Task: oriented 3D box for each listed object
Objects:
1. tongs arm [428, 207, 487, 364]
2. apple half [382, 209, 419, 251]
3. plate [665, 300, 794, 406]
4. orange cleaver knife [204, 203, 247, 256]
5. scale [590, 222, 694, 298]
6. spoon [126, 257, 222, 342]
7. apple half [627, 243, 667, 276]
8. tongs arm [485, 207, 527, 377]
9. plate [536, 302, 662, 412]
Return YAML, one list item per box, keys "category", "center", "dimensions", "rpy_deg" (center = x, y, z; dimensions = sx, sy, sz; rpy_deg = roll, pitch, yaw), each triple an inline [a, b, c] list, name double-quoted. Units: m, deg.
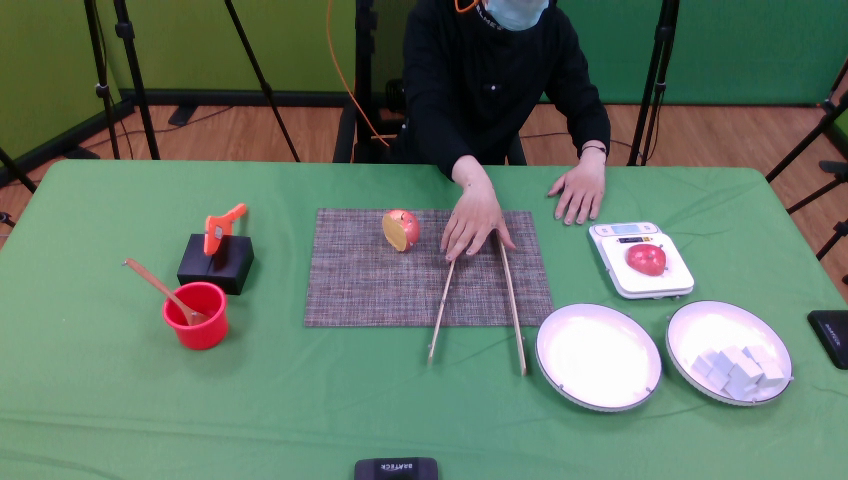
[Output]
- category: "tongs arm"
  center: [0.067, 0.069, 1.123]
  dimensions: [0.051, 0.026, 0.383]
  rpy_deg: [10, 46, 6]
- category: "apple half"
  center: [-0.039, -0.022, 1.175]
  dimensions: [0.053, 0.075, 0.080]
  rpy_deg: [-26, 49, -31]
- category: "plate"
  center: [0.513, 0.194, 1.034]
  dimensions: [0.208, 0.039, 0.206]
  rpy_deg: [2, 46, -2]
- category: "orange cleaver knife"
  center: [-0.374, -0.024, 1.146]
  dimensions: [0.012, 0.077, 0.211]
  rpy_deg: [4, 14, 1]
- category: "scale"
  center: [0.424, 0.031, 1.189]
  dimensions: [0.149, 0.032, 0.199]
  rpy_deg: [-3, 46, -7]
- category: "spoon"
  center: [-0.408, 0.096, 0.990]
  dimensions: [0.194, 0.021, 0.041]
  rpy_deg: [50, 53, -18]
- category: "apple half"
  center: [0.427, 0.028, 1.150]
  dimensions: [0.081, 0.033, 0.081]
  rpy_deg: [3, 46, -3]
- category: "tongs arm"
  center: [0.152, 0.080, 1.122]
  dimensions: [0.028, 0.028, 0.385]
  rpy_deg: [-3, 46, -1]
- category: "plate"
  center: [0.288, 0.197, 1.016]
  dimensions: [0.209, 0.038, 0.208]
  rpy_deg: [2, 46, -2]
